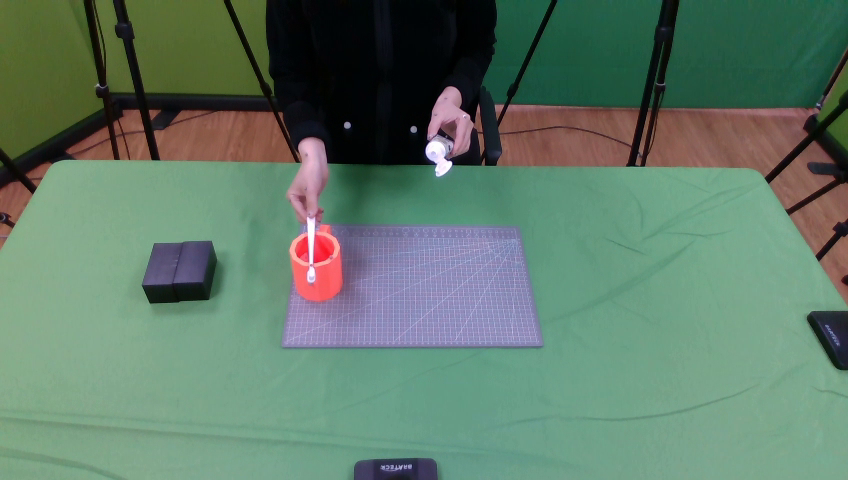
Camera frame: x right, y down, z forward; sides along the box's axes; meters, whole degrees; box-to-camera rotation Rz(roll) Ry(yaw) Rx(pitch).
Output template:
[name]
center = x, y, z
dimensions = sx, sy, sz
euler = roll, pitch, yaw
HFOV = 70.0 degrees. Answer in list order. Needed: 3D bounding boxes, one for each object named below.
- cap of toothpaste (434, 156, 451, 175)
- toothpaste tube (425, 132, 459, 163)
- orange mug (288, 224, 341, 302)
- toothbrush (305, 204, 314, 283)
[cap of toothpaste]
center = 0.030, -0.124, 1.007
dimensions = 0.037, 0.011, 0.037
euler = -35, 30, 23
[toothpaste tube]
center = 0.031, -0.169, 1.085
dimensions = 0.055, 0.034, 0.164
euler = 28, 22, -1
[orange mug]
center = -0.192, 0.034, 1.094
dimensions = 0.083, 0.101, 0.125
euler = 7, 50, 2
[toothbrush]
center = -0.199, 0.000, 1.051
dimensions = 0.014, 0.017, 0.180
euler = -1, 48, -10
